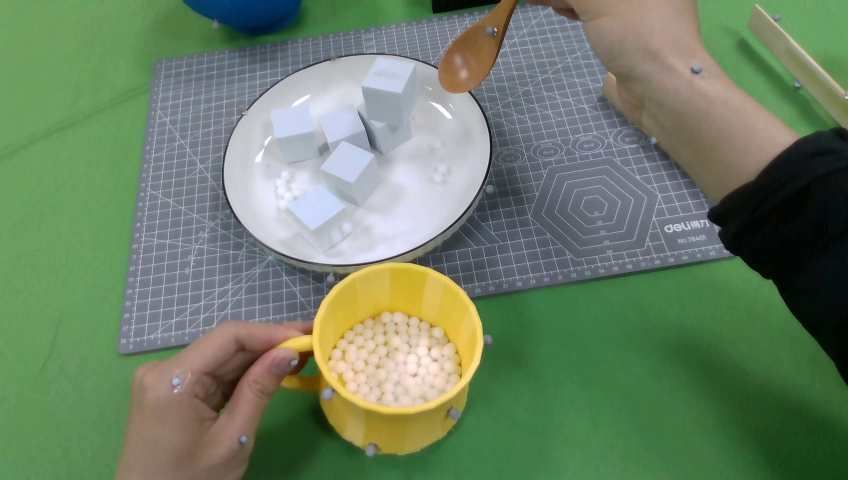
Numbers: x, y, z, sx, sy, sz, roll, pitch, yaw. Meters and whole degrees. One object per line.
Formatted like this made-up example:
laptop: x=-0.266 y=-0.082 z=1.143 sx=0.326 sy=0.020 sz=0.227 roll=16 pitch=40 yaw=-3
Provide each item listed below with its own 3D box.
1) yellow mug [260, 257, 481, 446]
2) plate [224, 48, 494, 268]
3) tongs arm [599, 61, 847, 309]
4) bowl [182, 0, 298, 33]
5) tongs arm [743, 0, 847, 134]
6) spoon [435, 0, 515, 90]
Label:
yellow mug: x=-0.034 y=0.070 z=0.372 sx=0.131 sy=0.064 sz=0.099 roll=-4 pitch=54 yaw=-9
plate: x=-0.049 y=-0.066 z=0.478 sx=0.207 sy=0.039 sz=0.206 roll=-2 pitch=60 yaw=4
tongs arm: x=0.259 y=-0.006 z=0.421 sx=0.028 sy=0.028 sz=0.384 roll=-30 pitch=63 yaw=-18
bowl: x=-0.167 y=-0.254 z=0.576 sx=0.151 sy=0.077 sz=0.150 roll=-2 pitch=60 yaw=4
tongs arm: x=0.332 y=-0.040 z=0.435 sx=0.051 sy=0.027 sz=0.381 roll=-20 pitch=62 yaw=-9
spoon: x=0.066 y=-0.167 z=0.385 sx=0.022 sy=0.194 sz=0.041 roll=-12 pitch=69 yaw=-39
